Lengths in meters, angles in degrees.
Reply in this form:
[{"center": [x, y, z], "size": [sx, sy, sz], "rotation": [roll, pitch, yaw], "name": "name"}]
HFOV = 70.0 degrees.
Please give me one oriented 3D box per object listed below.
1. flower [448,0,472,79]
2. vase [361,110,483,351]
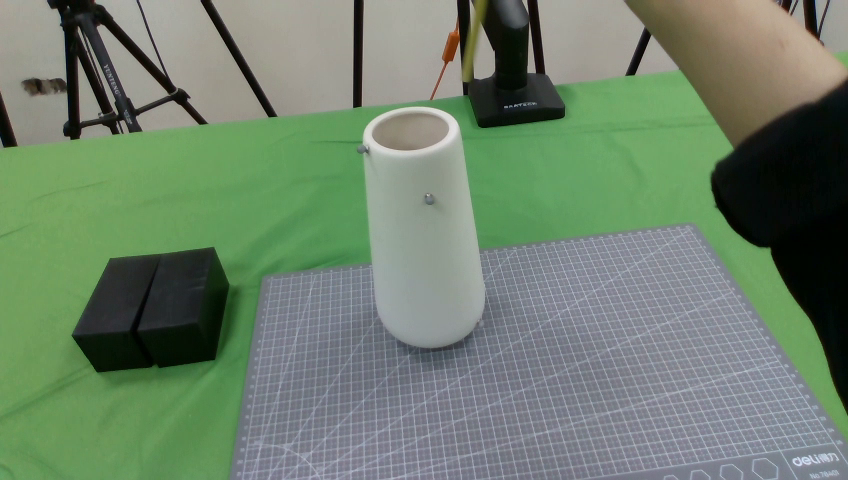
[{"center": [0.039, -0.205, 0.271], "size": [0.044, 0.364, 0.038], "rotation": [-22, 65, -19], "name": "flower"}, {"center": [-0.003, -0.002, 0.495], "size": [0.098, 0.202, 0.097], "rotation": [-4, 39, 4], "name": "vase"}]
